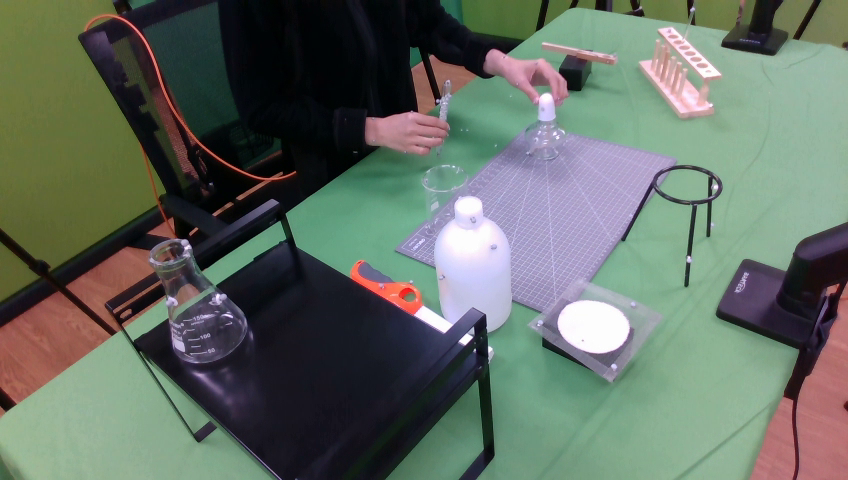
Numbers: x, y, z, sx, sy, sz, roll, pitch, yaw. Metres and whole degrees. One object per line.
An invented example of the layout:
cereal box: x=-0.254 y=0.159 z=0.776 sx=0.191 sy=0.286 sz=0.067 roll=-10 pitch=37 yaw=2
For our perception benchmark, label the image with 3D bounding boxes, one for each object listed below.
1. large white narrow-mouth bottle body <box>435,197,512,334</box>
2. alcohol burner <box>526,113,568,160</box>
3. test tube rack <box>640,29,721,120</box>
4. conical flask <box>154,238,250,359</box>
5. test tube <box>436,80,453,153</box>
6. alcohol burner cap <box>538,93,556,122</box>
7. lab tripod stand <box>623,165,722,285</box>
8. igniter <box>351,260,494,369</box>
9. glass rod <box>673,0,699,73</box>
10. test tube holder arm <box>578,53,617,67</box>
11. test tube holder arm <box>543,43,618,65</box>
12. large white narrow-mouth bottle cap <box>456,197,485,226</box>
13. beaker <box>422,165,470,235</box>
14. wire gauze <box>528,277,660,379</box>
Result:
large white narrow-mouth bottle body: x=0.066 y=0.028 z=0.805 sx=0.102 sy=0.195 sz=0.101 roll=-4 pitch=40 yaw=4
alcohol burner: x=0.228 y=-0.209 z=1.117 sx=0.078 sy=0.119 sz=0.077 roll=-5 pitch=43 yaw=5
test tube rack: x=0.527 y=-0.351 z=1.262 sx=0.067 sy=0.085 sz=0.241 roll=-8 pitch=40 yaw=2
conical flask: x=-0.225 y=0.055 z=0.597 sx=0.075 sy=0.122 sz=0.075 roll=-5 pitch=41 yaw=5
test tube: x=0.036 y=-0.220 z=1.098 sx=0.017 sy=0.150 sz=0.017 roll=3 pitch=45 yaw=-3
alcohol burner cap: x=0.222 y=-0.241 z=1.091 sx=0.034 sy=0.048 sz=0.033 roll=-4 pitch=39 yaw=4
lab tripod stand: x=0.365 y=-0.030 z=0.874 sx=0.148 sy=0.132 sz=0.147 roll=-6 pitch=41 yaw=6
igniter: x=-0.013 y=0.099 z=0.864 sx=0.274 sy=0.025 sz=0.057 roll=30 pitch=65 yaw=36
glass rod: x=0.538 y=-0.425 z=1.244 sx=0.008 sy=0.200 sz=0.008 roll=0 pitch=47 yaw=0
test tube holder arm: x=0.376 y=-0.393 z=1.314 sx=0.087 sy=0.015 sz=0.010 roll=26 pitch=51 yaw=32
test tube holder arm: x=0.345 y=-0.413 z=1.340 sx=0.177 sy=0.015 sz=0.013 roll=25 pitch=51 yaw=31
large white narrow-mouth bottle cap: x=0.058 y=-0.036 z=0.749 sx=0.038 sy=0.024 sz=0.037 roll=-4 pitch=40 yaw=4
beaker: x=0.041 y=-0.063 z=0.986 sx=0.073 sy=0.101 sz=0.084 roll=20 pitch=47 yaw=29
wire gauze: x=0.214 y=0.103 z=0.763 sx=0.124 sy=0.011 sz=0.122 roll=30 pitch=52 yaw=35
